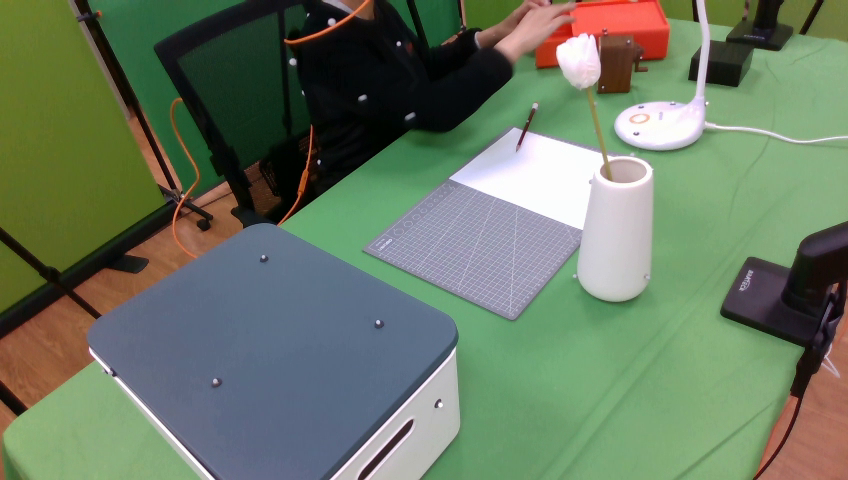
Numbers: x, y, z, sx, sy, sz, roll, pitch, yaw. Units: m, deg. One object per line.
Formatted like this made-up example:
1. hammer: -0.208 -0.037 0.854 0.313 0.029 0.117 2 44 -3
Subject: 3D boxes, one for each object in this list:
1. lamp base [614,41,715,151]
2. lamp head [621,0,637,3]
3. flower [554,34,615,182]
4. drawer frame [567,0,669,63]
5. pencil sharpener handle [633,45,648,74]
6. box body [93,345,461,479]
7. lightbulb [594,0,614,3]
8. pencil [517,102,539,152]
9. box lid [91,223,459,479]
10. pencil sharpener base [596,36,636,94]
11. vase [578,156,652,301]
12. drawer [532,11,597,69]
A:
1. lamp base: 0.449 -0.277 1.106 0.179 0.181 0.160 1 41 9
2. lamp head: 0.319 -0.453 0.962 0.113 0.123 0.112 20 33 -13
3. flower: 0.237 -0.083 0.774 0.044 0.363 0.038 -22 26 6
4. drawer frame: 0.452 -0.497 1.442 0.213 0.083 0.201 -1 40 9
5. pencil sharpener handle: 0.454 -0.378 1.262 0.030 0.068 0.036 2 47 13
6. box body: -0.162 0.170 0.708 0.361 0.161 0.255 25 50 34
7. lightbulb: 0.305 -0.437 0.977 0.060 0.107 0.059 12 45 -11
8. pencil: 0.210 -0.230 1.229 0.012 0.012 0.194 7 43 19
9. box lid: -0.174 0.102 0.666 0.368 0.015 0.264 24 48 35
10. pencil sharpener base: 0.405 -0.369 1.280 0.076 0.107 0.061 2 41 13
11. vase: 0.261 -0.011 0.812 0.098 0.201 0.097 -4 40 4
12. drawer: 0.368 -0.491 1.456 0.211 0.073 0.194 -1 40 8
